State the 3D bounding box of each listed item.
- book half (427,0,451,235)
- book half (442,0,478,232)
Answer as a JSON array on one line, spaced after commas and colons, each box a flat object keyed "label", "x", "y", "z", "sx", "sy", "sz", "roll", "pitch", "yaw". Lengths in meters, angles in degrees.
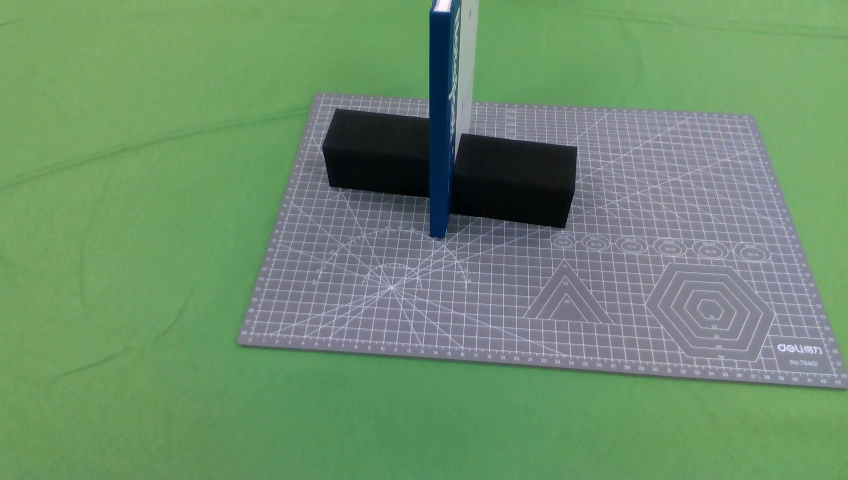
[{"label": "book half", "x": 0.021, "y": -0.124, "z": 0.477, "sx": 0.016, "sy": 0.212, "sz": 0.147, "roll": 8, "pitch": 53, "yaw": 6}, {"label": "book half", "x": 0.028, "y": -0.125, "z": 0.479, "sx": 0.007, "sy": 0.212, "sz": 0.142, "roll": 9, "pitch": 52, "yaw": 7}]
